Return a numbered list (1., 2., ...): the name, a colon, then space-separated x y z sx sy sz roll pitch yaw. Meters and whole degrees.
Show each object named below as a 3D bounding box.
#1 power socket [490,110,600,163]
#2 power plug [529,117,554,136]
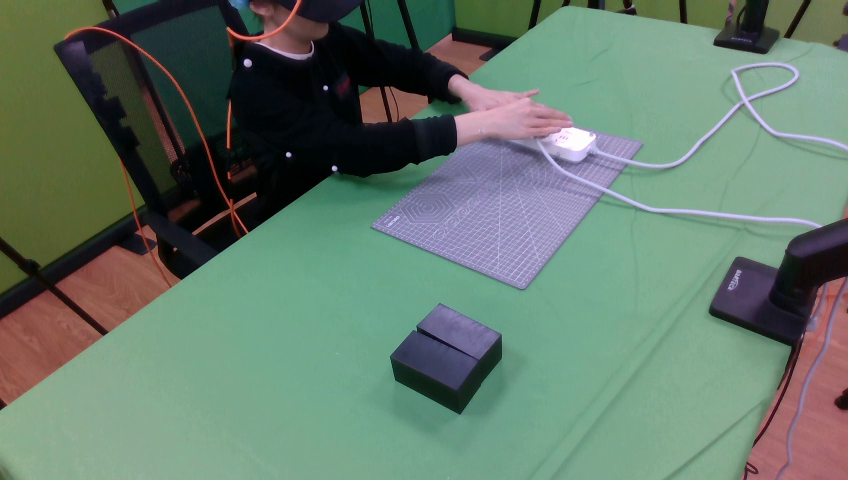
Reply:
1. power socket: 0.226 -0.202 1.165 0.225 0.033 0.072 26 49 33
2. power plug: 0.212 -0.201 1.130 0.073 0.053 0.035 -29 44 -26
